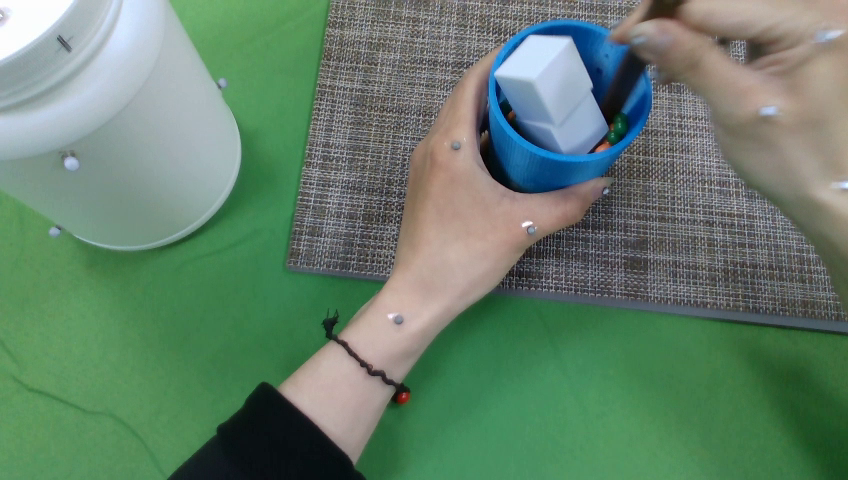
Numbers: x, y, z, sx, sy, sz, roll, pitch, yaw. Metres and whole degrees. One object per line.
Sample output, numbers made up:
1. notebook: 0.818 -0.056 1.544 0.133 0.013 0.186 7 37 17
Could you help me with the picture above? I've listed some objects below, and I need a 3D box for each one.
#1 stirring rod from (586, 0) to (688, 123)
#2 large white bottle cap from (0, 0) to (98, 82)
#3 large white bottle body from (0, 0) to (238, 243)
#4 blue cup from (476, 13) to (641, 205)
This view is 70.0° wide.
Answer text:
1. stirring rod: 0.103 -0.088 0.289 0.014 0.177 0.006 -8 70 -6
2. large white bottle cap: -0.185 -0.110 0.236 0.115 0.018 0.114 1 73 -1
3. large white bottle body: -0.186 -0.084 0.317 0.131 0.185 0.130 0 73 -1
4. blue cup: 0.069 -0.065 0.358 0.092 0.101 0.092 0 74 1
